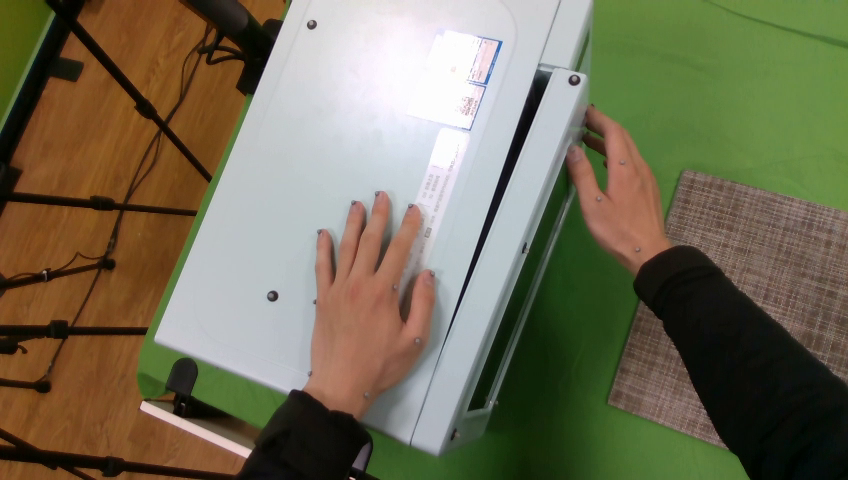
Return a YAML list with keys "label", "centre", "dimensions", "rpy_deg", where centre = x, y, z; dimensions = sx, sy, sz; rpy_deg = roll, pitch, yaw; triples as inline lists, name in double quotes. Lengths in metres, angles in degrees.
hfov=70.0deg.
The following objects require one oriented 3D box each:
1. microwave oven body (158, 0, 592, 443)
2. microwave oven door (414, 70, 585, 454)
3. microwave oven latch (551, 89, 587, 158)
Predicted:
- label: "microwave oven body"
  centre: [-0.035, -0.043, 0.685]
  dimensions: [0.324, 0.262, 0.440]
  rpy_deg: [17, 82, 16]
- label: "microwave oven door"
  centre: [0.091, 0.038, 0.630]
  dimensions: [0.039, 0.245, 0.355]
  rpy_deg: [20, 82, 18]
- label: "microwave oven latch"
  centre: [0.182, -0.145, 0.758]
  dimensions: [0.030, 0.030, 0.079]
  rpy_deg: [18, 83, 16]
